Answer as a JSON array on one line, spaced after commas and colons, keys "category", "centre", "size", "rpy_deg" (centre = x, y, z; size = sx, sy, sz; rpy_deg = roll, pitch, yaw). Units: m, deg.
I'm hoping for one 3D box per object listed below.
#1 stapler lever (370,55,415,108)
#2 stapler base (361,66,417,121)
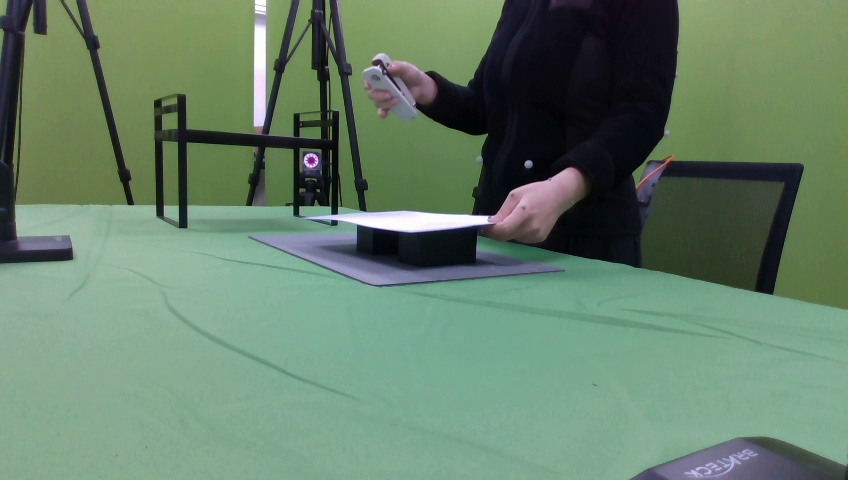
[{"category": "stapler lever", "centre": [-0.057, -0.291, 1.118], "size": [0.026, 0.040, 0.118], "rpy_deg": [-10, -37, 34]}, {"category": "stapler base", "centre": [-0.062, -0.272, 1.104], "size": [0.041, 0.024, 0.131], "rpy_deg": [-10, -38, 34]}]
